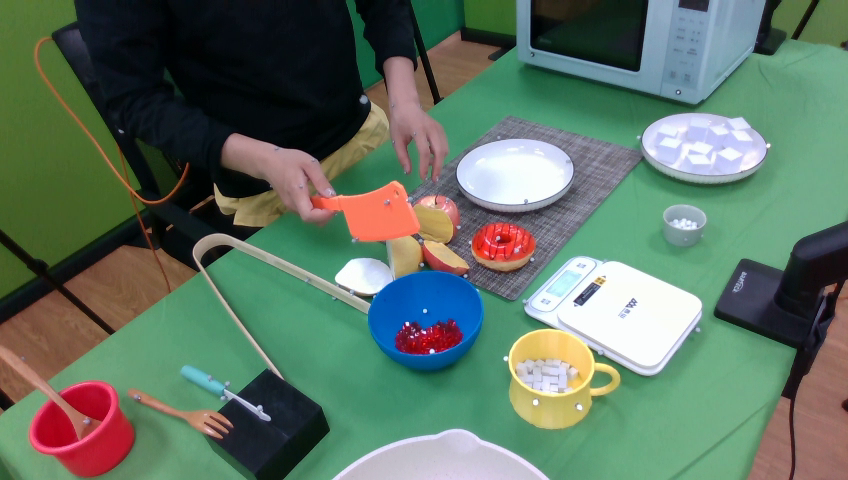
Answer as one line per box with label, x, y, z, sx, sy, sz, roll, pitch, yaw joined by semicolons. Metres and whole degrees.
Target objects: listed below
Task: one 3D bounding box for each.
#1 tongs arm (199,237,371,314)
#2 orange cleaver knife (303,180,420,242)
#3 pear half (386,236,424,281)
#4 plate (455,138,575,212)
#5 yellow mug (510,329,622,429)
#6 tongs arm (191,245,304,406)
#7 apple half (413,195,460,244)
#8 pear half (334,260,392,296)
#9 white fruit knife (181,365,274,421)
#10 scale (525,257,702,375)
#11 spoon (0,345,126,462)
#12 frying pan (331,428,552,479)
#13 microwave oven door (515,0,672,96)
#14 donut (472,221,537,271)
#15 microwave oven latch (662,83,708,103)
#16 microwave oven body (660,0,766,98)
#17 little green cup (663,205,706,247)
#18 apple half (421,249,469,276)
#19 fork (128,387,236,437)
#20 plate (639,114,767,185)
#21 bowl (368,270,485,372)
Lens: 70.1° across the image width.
tongs arm;-0.209;0.063;0.924;0.382;0.027;0.051;22;54;32
orange cleaver knife;-0.086;-0.034;0.789;0.209;0.077;0.012;-1;18;43
pear half;-0.029;0.013;0.897;0.056;0.110;0.076;-17;46;-10
plate;0.159;-0.111;1.063;0.209;0.038;0.208;-4;40;4
yellow mug;0.168;0.164;0.721;0.130;0.064;0.099;0;40;8
tongs arm;-0.268;0.113;0.883;0.028;0.028;0.384;-37;47;-17
apple half;0.025;-0.038;0.970;0.080;0.075;0.053;12;40;28
pear half;-0.092;0.063;0.907;0.088;0.031;0.070;-8;40;-24
white fruit knife;-0.245;0.187;0.747;0.205;0.027;0.016;9;41;40
scale;0.254;0.091;0.821;0.199;0.032;0.149;28;51;35
spoon;-0.434;0.192;0.720;0.194;0.021;0.042;47;53;-7
frying pan;-0.089;0.306;0.564;0.487;0.103;0.306;10;41;7
microwave oven door;0.343;-0.455;1.259;0.353;0.245;0.039;26;51;33
donut;0.123;0.008;0.923;0.099;0.048;0.098;-3;38;3
microwave oven latch;0.517;-0.296;1.204;0.078;0.029;0.030;28;52;35
microwave oven body;0.472;-0.513;1.317;0.438;0.261;0.327;26;51;34
little green cup;0.396;-0.020;0.926;0.061;0.039;0.061;-4;40;4
apple half;0.024;0.039;0.910;0.081;0.033;0.081;19;3;-1
fork;-0.305;0.207;0.744;0.206;0.019;0.028;3;41;36
plate;0.489;-0.157;1.074;0.207;0.039;0.206;-4;40;4
bowl;0.007;0.118;0.791;0.151;0.077;0.150;-5;40;4
